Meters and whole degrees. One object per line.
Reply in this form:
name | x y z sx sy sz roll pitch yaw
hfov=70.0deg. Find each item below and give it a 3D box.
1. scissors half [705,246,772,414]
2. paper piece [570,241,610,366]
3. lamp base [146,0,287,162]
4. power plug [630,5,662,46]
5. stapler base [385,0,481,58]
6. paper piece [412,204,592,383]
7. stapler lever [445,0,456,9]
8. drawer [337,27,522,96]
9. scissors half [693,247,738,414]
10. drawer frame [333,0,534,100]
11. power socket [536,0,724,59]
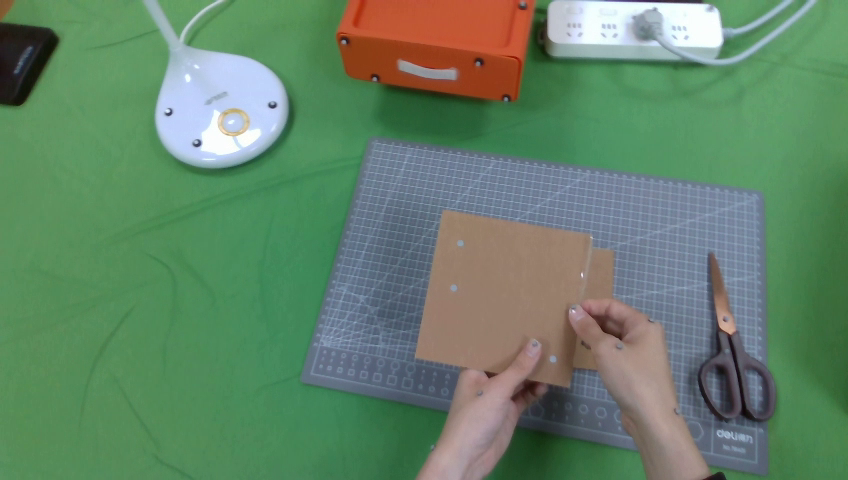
scissors half | 0.308 0.085 0.605 0.040 0.013 0.173 -6 66 -4
paper piece | 0.123 0.056 0.629 0.135 0.004 0.135 8 67 7
lamp base | -0.260 -0.204 0.671 0.160 0.182 0.178 -42 68 -15
power plug | 0.260 -0.246 0.718 0.035 0.053 0.072 14 68 9
stapler base | 0.008 -0.263 0.708 0.129 0.024 0.041 40 90 21
paper piece | 0.068 0.044 0.528 0.136 0.009 0.138 11 82 6
stapler lever | -0.001 -0.269 0.685 0.117 0.040 0.027 40 90 21
drawer | 0.026 -0.279 0.695 0.194 0.074 0.210 10 67 8
scissors half | 0.288 0.084 0.604 0.040 0.013 0.174 12 64 -2
drawer frame | 0.025 -0.282 0.696 0.201 0.083 0.212 10 66 8
power socket | 0.255 -0.264 0.751 0.226 0.033 0.071 4 67 4
